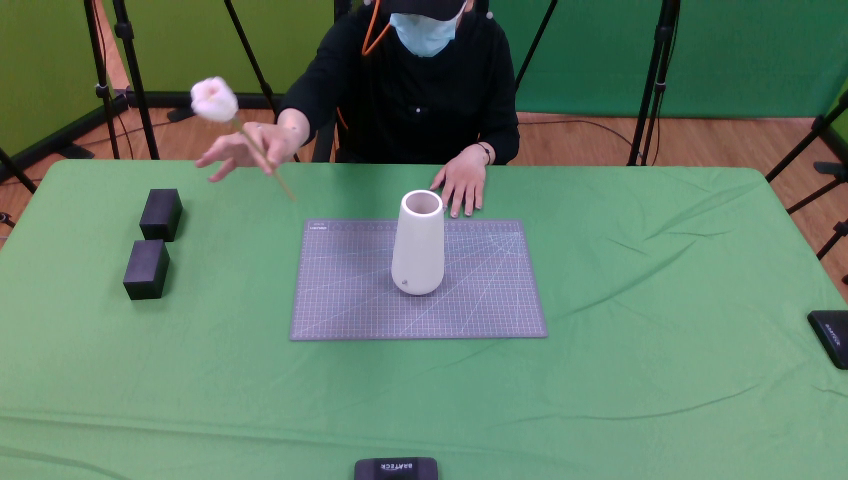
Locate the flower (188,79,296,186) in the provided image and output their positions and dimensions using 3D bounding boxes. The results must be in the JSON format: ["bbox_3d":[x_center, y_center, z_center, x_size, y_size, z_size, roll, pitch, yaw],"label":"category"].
[{"bbox_3d":[-0.227,-0.125,0.828,0.038,0.362,0.044,26,82,8],"label":"flower"}]

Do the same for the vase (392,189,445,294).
[{"bbox_3d":[-0.006,0.006,1.060,0.098,0.201,0.097,2,48,-2],"label":"vase"}]
